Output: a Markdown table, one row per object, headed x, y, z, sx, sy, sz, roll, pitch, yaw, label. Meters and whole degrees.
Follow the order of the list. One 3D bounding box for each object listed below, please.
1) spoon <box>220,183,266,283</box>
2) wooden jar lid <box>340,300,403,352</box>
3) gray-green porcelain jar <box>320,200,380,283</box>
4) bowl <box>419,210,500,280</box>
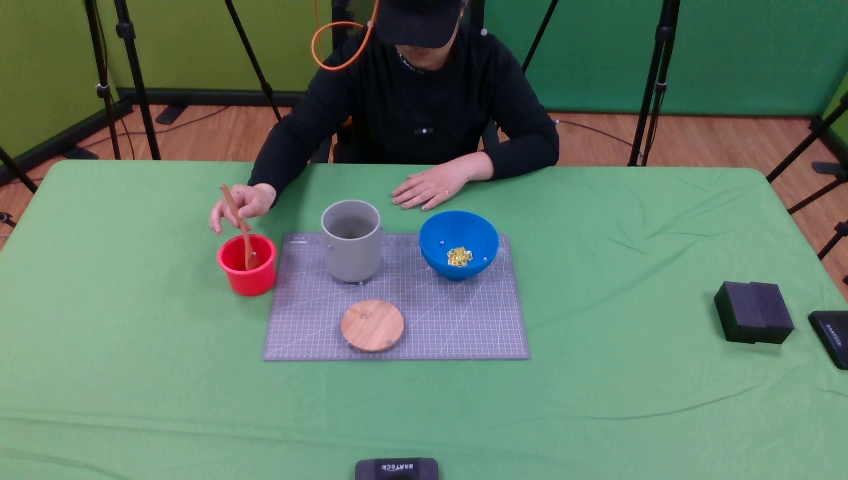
| x | y | z | sx | sy | sz | roll | pitch | yaw | label |
| --- | --- | --- | --- | --- | --- | --- | --- | --- | --- |
| -0.320 | -0.011 | 1.071 | 0.021 | 0.194 | 0.041 | -2 | 25 | 23 | spoon |
| -0.090 | 0.150 | 1.046 | 0.108 | 0.021 | 0.107 | 3 | 47 | -3 | wooden jar lid |
| -0.132 | 0.007 | 1.106 | 0.106 | 0.127 | 0.105 | 2 | 46 | -2 | gray-green porcelain jar |
| 0.062 | 0.022 | 1.140 | 0.151 | 0.077 | 0.150 | 2 | 46 | -2 | bowl |
